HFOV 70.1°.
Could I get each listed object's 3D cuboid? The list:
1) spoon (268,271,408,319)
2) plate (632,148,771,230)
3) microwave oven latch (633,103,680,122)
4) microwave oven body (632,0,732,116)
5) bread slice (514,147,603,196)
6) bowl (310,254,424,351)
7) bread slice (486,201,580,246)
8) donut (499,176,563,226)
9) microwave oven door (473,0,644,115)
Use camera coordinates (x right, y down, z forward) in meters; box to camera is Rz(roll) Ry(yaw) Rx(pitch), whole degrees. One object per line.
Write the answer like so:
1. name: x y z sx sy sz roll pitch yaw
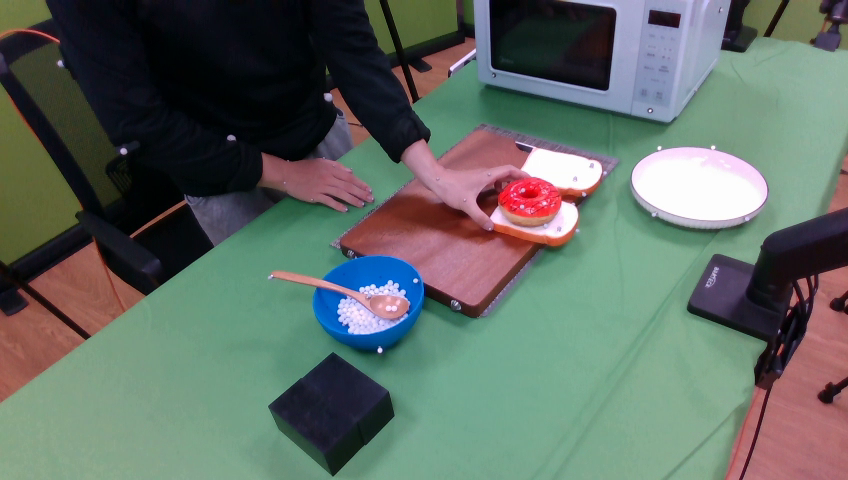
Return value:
1. spoon: -0.116 0.069 0.813 0.194 0.021 0.041 18 39 1
2. plate: 0.447 -0.081 0.988 0.207 0.039 0.206 -4 40 4
3. microwave oven latch: 0.444 -0.249 1.157 0.078 0.029 0.030 21 49 30
4. microwave oven body: 0.377 -0.462 1.267 0.438 0.261 0.327 21 49 30
5. bread slice: 0.233 -0.115 1.027 0.133 0.018 0.107 13 45 20
6. bowl: -0.071 0.098 0.821 0.151 0.077 0.150 -4 40 4
7. bread slice: 0.176 -0.038 0.946 0.131 0.019 0.105 17 47 23
8. donut: 0.164 -0.059 0.928 0.099 0.048 0.098 -4 41 4
9. microwave oven door: 0.257 -0.396 1.199 0.353 0.245 0.039 21 48 29
